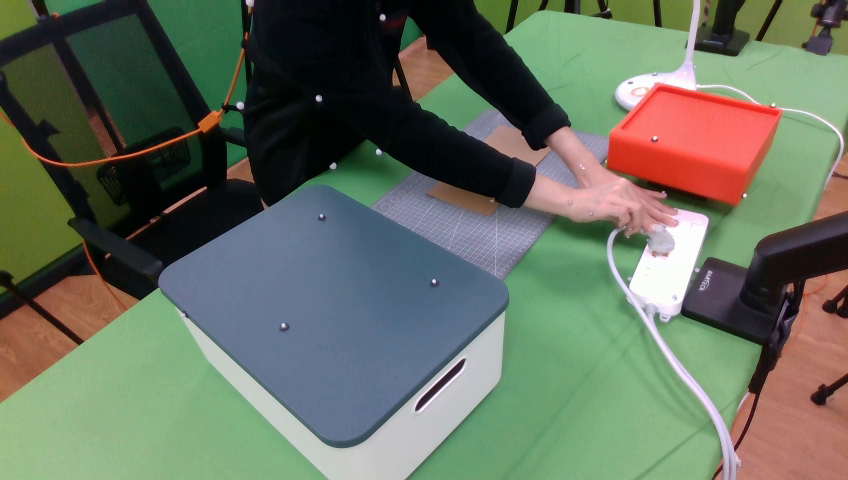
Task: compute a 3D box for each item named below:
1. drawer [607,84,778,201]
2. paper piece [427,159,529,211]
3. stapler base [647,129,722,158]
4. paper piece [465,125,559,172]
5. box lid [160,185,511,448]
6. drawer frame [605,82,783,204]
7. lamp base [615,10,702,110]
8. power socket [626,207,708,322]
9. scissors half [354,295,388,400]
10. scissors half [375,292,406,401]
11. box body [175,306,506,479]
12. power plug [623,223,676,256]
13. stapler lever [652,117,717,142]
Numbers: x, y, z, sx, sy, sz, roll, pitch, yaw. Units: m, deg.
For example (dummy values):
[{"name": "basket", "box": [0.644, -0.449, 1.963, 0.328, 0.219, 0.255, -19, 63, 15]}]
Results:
[{"name": "drawer", "box": [0.439, -0.167, 0.996, 0.210, 0.073, 0.195, 23, 48, 30]}, {"name": "paper piece", "box": [0.099, -0.104, 1.089, 0.134, 0.004, 0.136, 22, 44, 31]}, {"name": "stapler base", "box": [0.439, -0.167, 1.023, 0.131, 0.024, 0.041, -17, 25, -15]}, {"name": "paper piece", "box": [0.172, -0.178, 1.168, 0.137, 0.009, 0.136, 21, 44, 30]}, {"name": "box lid", "box": [-0.114, 0.055, 0.705, 0.368, 0.015, 0.264, 28, 51, 34]}, {"name": "drawer frame", "box": [0.442, -0.167, 0.995, 0.212, 0.083, 0.202, 23, 48, 30]}, {"name": "lamp base", "box": [0.484, -0.364, 1.211, 0.180, 0.181, 0.159, -15, 41, -14]}, {"name": "power socket", "box": [0.360, 0.026, 0.886, 0.072, 0.033, 0.227, 16, 46, 26]}, {"name": "scissors half", "box": [-0.068, 0.142, 0.818, 0.040, 0.013, 0.174, -20, 44, 0]}, {"name": "scissors half", "box": [-0.048, 0.139, 0.817, 0.040, 0.013, 0.174, -4, 45, 8]}, {"name": "box body", "box": [-0.105, 0.111, 0.751, 0.361, 0.161, 0.255, 28, 52, 35]}, {"name": "power plug", "box": [0.328, -0.001, 0.877, 0.072, 0.053, 0.035, 21, 39, 39]}, {"name": "stapler lever", "box": [0.436, -0.192, 1.014, 0.118, 0.040, 0.026, -15, 24, -16]}]
